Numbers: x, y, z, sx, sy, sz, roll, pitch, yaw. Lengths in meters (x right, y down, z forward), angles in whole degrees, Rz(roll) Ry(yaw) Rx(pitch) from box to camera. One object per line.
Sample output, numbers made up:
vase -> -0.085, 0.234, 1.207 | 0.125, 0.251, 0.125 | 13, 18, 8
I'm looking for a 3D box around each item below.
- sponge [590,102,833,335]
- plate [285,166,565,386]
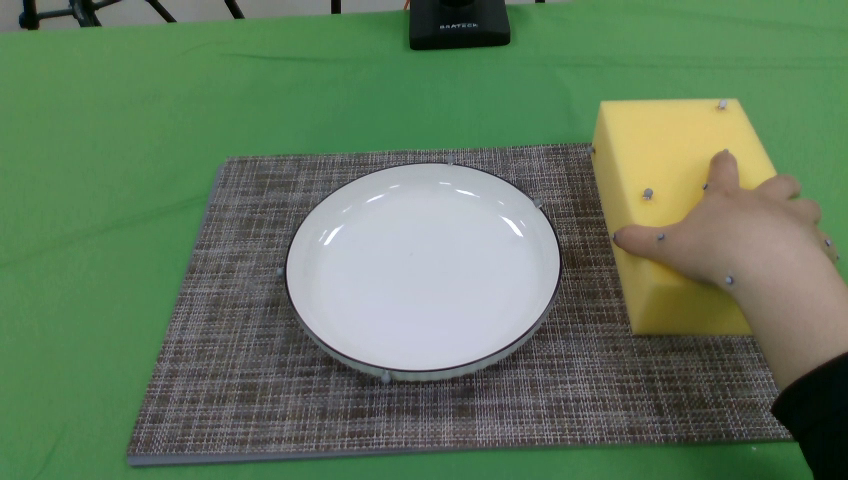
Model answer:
sponge -> 0.210, -0.025, 0.480 | 0.118, 0.061, 0.205 | -1, 47, 3
plate -> 0.001, 0.023, 0.465 | 0.207, 0.039, 0.205 | -2, 47, 2
